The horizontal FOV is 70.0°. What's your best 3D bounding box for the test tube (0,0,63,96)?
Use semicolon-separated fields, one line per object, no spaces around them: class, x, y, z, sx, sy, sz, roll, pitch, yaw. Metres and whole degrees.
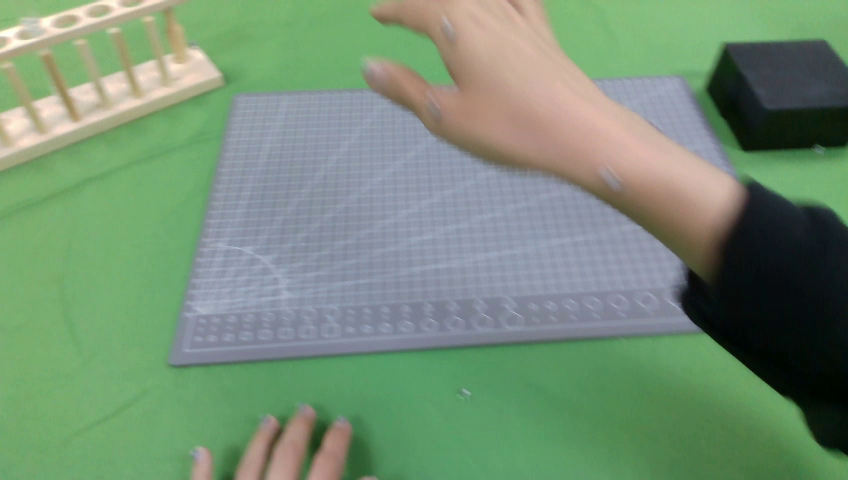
test tube;-0.342;-0.186;0.511;0.017;0.151;0.017;1;49;-1

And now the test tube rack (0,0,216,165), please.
test tube rack;-0.325;-0.150;0.546;0.242;0.086;0.066;-30;57;-22
